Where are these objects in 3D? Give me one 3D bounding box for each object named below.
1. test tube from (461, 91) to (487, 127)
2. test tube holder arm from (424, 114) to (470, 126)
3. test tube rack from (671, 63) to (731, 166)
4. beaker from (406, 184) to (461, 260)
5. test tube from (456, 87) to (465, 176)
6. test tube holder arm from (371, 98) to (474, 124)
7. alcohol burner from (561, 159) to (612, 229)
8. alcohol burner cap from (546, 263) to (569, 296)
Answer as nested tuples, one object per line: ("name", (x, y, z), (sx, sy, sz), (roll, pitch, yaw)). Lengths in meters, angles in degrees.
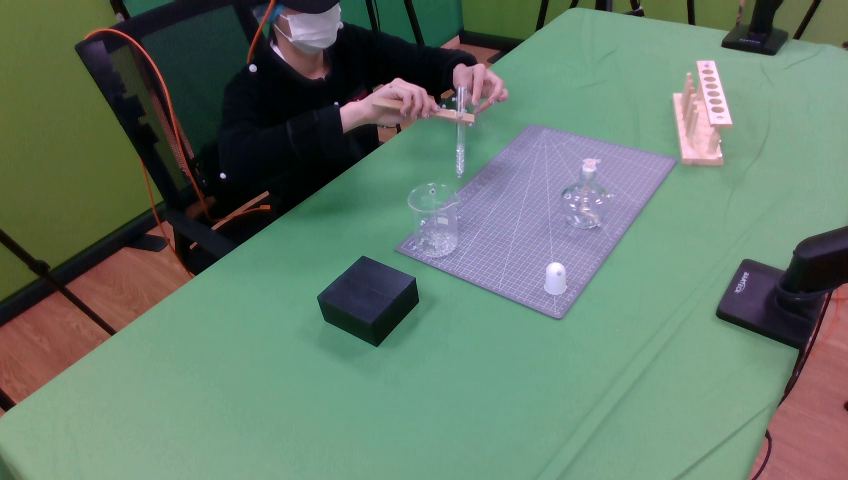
("test tube", (0.093, -0.238, 1.107), (0.017, 0.151, 0.017), (-3, 79, 18))
("test tube holder arm", (0.038, -0.205, 1.007), (0.088, 0.015, 0.010), (7, -12, -32))
("test tube rack", (0.513, -0.241, 1.132), (0.066, 0.085, 0.242), (4, 41, 14))
("beaker", (0.019, -0.026, 0.939), (0.084, 0.101, 0.074), (1, 41, 9))
("test tube", (0.061, -0.182, 1.012), (0.017, 0.017, 0.150), (0, 83, 9))
("test tube holder arm", (0.001, -0.210, 0.982), (0.180, 0.013, 0.015), (6, 78, -24))
("alcohol burner", (0.257, -0.077, 0.951), (0.078, 0.119, 0.077), (-3, 40, 3))
("alcohol burner cap", (0.191, 0.053, 0.862), (0.034, 0.048, 0.033), (-5, 40, 4))
